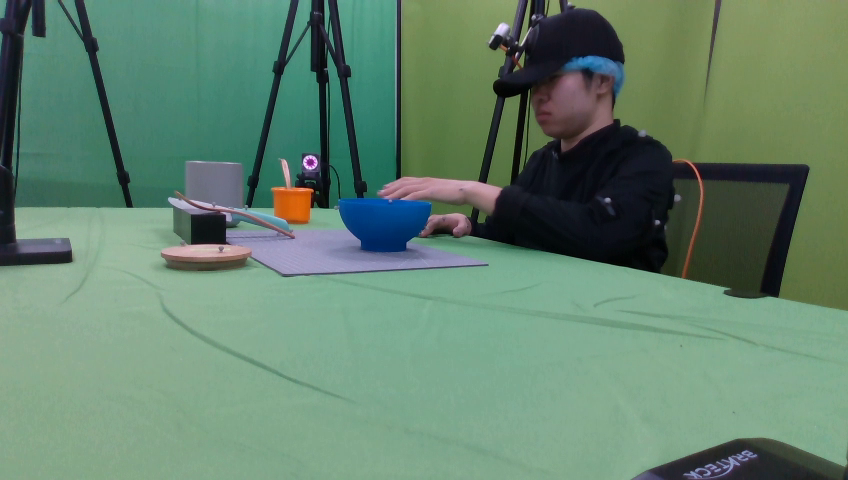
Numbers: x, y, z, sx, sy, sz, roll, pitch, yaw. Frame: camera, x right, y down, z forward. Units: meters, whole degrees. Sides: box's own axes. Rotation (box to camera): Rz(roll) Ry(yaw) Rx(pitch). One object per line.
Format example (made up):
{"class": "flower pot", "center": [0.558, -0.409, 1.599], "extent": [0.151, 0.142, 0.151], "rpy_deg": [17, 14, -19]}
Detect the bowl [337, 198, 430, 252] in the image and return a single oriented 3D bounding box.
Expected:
{"class": "bowl", "center": [-0.066, -0.024, 0.967], "extent": [0.151, 0.077, 0.151], "rpy_deg": [3, 7, 0]}

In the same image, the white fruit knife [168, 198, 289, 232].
{"class": "white fruit knife", "center": [-0.329, -0.044, 1.036], "extent": [0.208, 0.027, 0.016], "rpy_deg": [14, -1, -32]}

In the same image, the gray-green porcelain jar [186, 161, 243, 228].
{"class": "gray-green porcelain jar", "center": [-0.412, -0.090, 1.193], "extent": [0.106, 0.126, 0.106], "rpy_deg": [2, 7, 0]}

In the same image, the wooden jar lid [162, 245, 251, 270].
{"class": "wooden jar lid", "center": [-0.278, 0.022, 0.777], "extent": [0.108, 0.020, 0.108], "rpy_deg": [2, 6, 0]}

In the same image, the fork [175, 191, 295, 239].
{"class": "fork", "center": [-0.305, -0.039, 0.993], "extent": [0.208, 0.018, 0.028], "rpy_deg": [19, -9, -34]}

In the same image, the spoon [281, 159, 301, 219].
{"class": "spoon", "center": [-0.307, -0.117, 1.368], "extent": [0.042, 0.193, 0.021], "rpy_deg": [1, -37, -22]}
